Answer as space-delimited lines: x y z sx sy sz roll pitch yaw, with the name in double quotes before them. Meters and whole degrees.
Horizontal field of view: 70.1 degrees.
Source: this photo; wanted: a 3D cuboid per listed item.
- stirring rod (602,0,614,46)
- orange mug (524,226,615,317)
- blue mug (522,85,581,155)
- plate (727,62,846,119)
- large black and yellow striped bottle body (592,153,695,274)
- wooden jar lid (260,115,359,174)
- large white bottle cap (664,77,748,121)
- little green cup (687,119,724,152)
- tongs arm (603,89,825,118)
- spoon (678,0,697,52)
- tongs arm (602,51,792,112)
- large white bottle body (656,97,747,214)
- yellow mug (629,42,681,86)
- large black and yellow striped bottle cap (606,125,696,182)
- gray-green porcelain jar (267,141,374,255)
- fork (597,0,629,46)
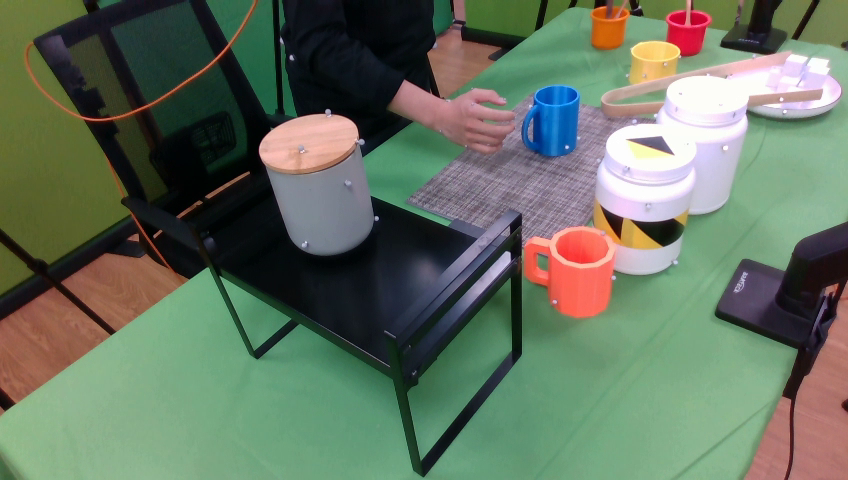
"stirring rod" 0.451 -0.555 1.467 0.014 0.006 0.176 8 85 22
"orange mug" 0.201 0.039 0.845 0.125 0.101 0.083 18 46 21
"blue mug" 0.233 -0.218 1.127 0.117 0.106 0.081 -23 43 -16
"plate" 0.709 -0.292 1.197 0.207 0.039 0.206 -4 40 4
"large black and yellow striped bottle body" 0.313 -0.056 0.872 0.131 0.185 0.130 -4 41 4
"wooden jar lid" -0.124 -0.101 0.662 0.108 0.021 0.108 -4 41 4
"large white bottle cap" 0.421 -0.212 0.905 0.115 0.018 0.114 -4 40 4
"little green cup" 0.514 -0.191 1.109 0.061 0.039 0.061 -5 40 5
"tongs arm" 0.546 -0.262 1.163 0.386 0.028 0.028 -1 49 18
"spoon" 0.614 -0.526 1.402 0.041 0.022 0.193 3 86 11
"tongs arm" 0.552 -0.320 1.224 0.384 0.027 0.050 -10 43 7
"large white bottle body" 0.431 -0.148 0.959 0.130 0.185 0.130 -4 41 4
"yellow mug" 0.495 -0.389 1.321 0.100 0.064 0.130 -14 40 -6
"large black and yellow striped bottle cap" 0.305 -0.119 0.816 0.115 0.019 0.114 -5 41 5
"gray-green porcelain jar" -0.117 -0.054 0.703 0.106 0.127 0.105 -4 40 4
"fork" 0.480 -0.558 1.455 0.028 0.019 0.207 35 99 32
